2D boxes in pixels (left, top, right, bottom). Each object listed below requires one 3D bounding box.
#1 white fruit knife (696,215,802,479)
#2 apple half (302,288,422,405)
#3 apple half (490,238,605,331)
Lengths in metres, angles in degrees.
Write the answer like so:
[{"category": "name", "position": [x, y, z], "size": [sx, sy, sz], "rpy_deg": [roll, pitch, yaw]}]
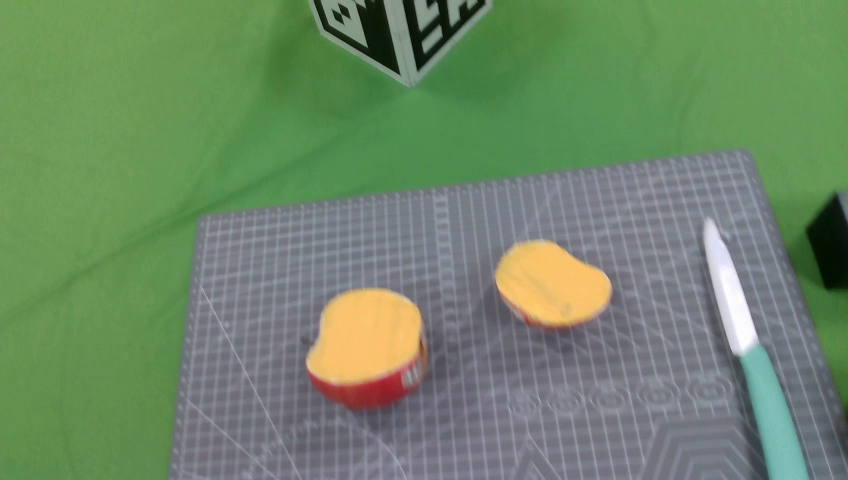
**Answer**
[{"category": "white fruit knife", "position": [0.211, 0.071, 0.402], "size": [0.027, 0.016, 0.205], "rpy_deg": [1, 62, -6]}, {"category": "apple half", "position": [-0.037, 0.078, 0.410], "size": [0.074, 0.054, 0.080], "rpy_deg": [-7, 40, 8]}, {"category": "apple half", "position": [0.082, 0.038, 0.424], "size": [0.081, 0.033, 0.080], "rpy_deg": [1, 44, 0]}]
